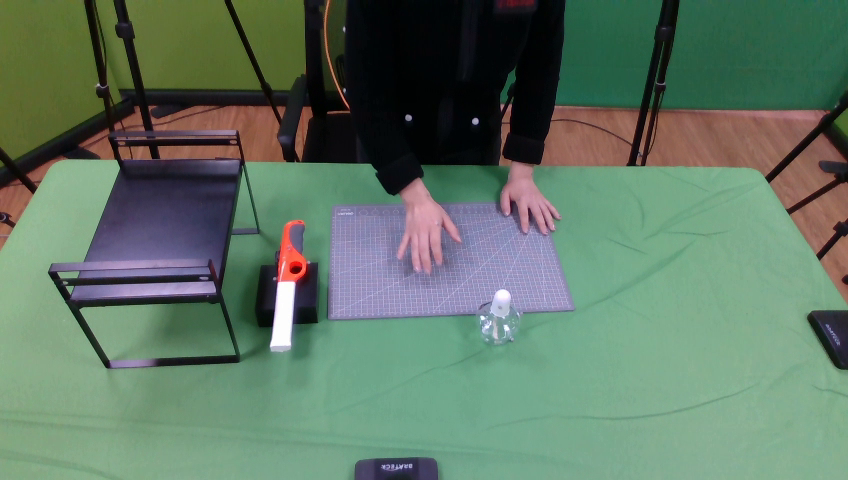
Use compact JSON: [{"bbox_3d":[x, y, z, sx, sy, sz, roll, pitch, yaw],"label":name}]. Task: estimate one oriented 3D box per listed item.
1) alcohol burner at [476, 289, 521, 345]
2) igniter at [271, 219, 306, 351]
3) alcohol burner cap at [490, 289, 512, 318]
[{"bbox_3d":[0.128,0.123,1.024,0.078,0.119,0.077,3,45,-3],"label":"alcohol burner"},{"bbox_3d":[-0.235,0.067,1.047,0.057,0.025,0.274,0,49,-6],"label":"igniter"},{"bbox_3d":[0.128,0.102,1.002,0.034,0.048,0.033,3,45,-3],"label":"alcohol burner cap"}]
